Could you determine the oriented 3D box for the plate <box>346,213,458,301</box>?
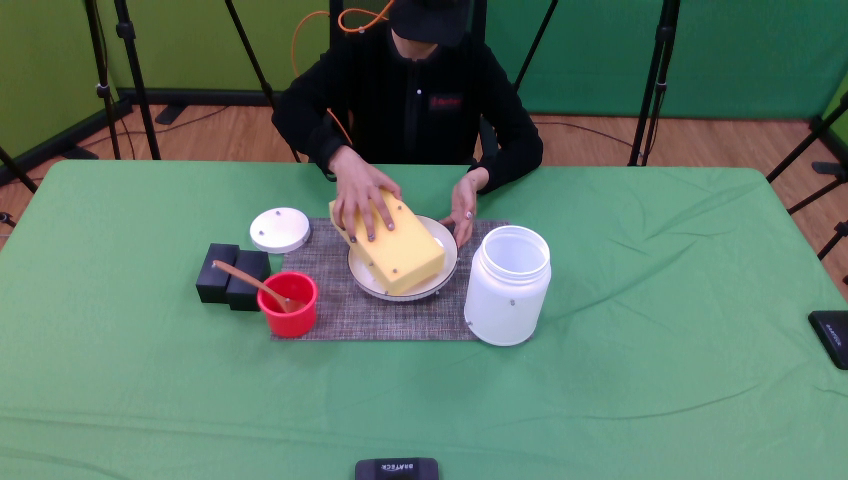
[{"bbox_3d":[-0.040,0.033,1.135,0.209,0.038,0.208,-2,48,2],"label":"plate"}]

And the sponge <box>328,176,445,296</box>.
[{"bbox_3d":[-0.071,-0.009,1.113,0.118,0.061,0.206,-31,64,-21],"label":"sponge"}]

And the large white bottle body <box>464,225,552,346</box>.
[{"bbox_3d":[0.141,0.076,1.017,0.131,0.185,0.130,2,46,-2],"label":"large white bottle body"}]

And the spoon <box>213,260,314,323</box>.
[{"bbox_3d":[-0.264,0.083,1.009,0.195,0.021,0.041,40,39,-28],"label":"spoon"}]

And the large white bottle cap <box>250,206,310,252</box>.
[{"bbox_3d":[-0.284,-0.023,1.197,0.115,0.018,0.114,1,46,-1],"label":"large white bottle cap"}]
